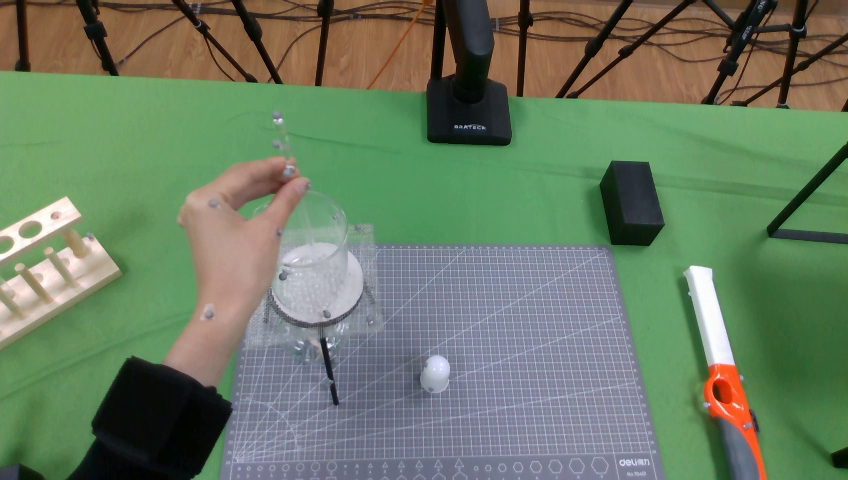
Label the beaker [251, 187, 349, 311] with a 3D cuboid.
[{"bbox_3d":[-0.106,0.012,0.527,0.084,0.101,0.073,23,59,8],"label":"beaker"}]

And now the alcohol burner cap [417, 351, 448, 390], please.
[{"bbox_3d":[0.010,0.138,0.649,0.034,0.048,0.033,2,58,-3],"label":"alcohol burner cap"}]

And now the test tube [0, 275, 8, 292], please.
[{"bbox_3d":[-0.454,0.010,0.603,0.017,0.151,0.017,3,53,-4],"label":"test tube"}]

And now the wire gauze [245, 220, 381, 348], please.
[{"bbox_3d":[-0.106,0.036,0.570,0.121,0.011,0.124,-5,63,-6],"label":"wire gauze"}]

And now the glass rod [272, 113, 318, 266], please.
[{"bbox_3d":[-0.102,-0.030,0.489,0.008,0.201,0.008,1,58,-1],"label":"glass rod"}]

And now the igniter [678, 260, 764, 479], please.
[{"bbox_3d":[0.332,0.146,0.685,0.057,0.025,0.274,8,58,-12],"label":"igniter"}]

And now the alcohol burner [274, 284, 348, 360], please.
[{"bbox_3d":[-0.118,0.079,0.630,0.078,0.120,0.077,4,56,-5],"label":"alcohol burner"}]

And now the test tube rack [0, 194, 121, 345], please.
[{"bbox_3d":[-0.459,0.059,0.630,0.242,0.086,0.066,-37,68,-24],"label":"test tube rack"}]

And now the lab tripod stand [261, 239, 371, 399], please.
[{"bbox_3d":[-0.108,0.074,0.623,0.148,0.132,0.147,3,58,-5],"label":"lab tripod stand"}]
